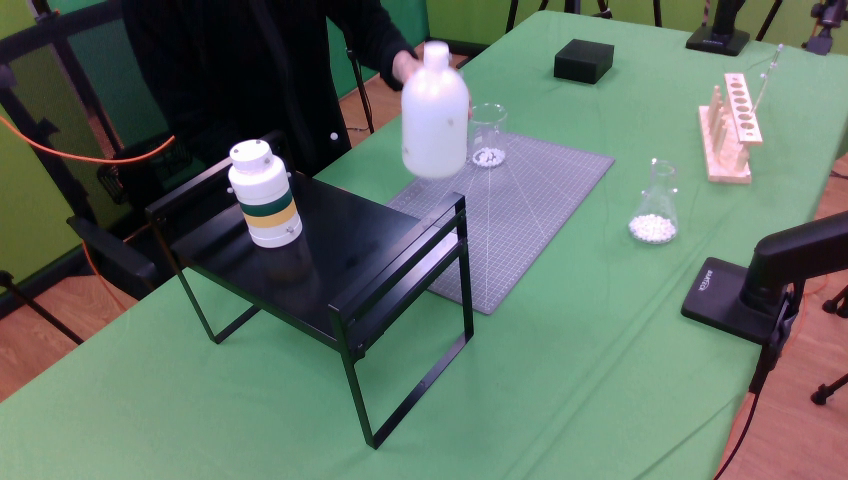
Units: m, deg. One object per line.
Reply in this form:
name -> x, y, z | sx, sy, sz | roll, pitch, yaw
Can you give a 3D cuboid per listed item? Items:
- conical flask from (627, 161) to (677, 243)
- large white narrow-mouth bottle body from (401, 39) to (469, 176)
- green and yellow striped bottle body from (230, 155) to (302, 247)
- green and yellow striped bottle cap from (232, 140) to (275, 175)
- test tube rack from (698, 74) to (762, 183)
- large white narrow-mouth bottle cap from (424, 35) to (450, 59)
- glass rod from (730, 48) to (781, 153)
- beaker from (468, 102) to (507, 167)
conical flask -> 0.355, -0.061, 0.921 | 0.075, 0.122, 0.075 | -4, 41, 4
large white narrow-mouth bottle body -> 0.016, -0.200, 0.895 | 0.102, 0.195, 0.101 | 1, 37, 0
green and yellow striped bottle body -> -0.188, -0.055, 0.714 | 0.063, 0.120, 0.063 | -4, 40, 4
green and yellow striped bottle cap -> -0.192, -0.094, 0.680 | 0.045, 0.020, 0.045 | -5, 39, 5
test tube rack -> 0.547, -0.208, 1.095 | 0.066, 0.085, 0.242 | 5, 42, 15
large white narrow-mouth bottle cap -> 0.018, -0.269, 0.843 | 0.038, 0.024, 0.037 | 1, 37, 0
glass rod -> 0.554, -0.228, 1.015 | 0.008, 0.200, 0.008 | 1, 44, -1
beaker -> 0.121, -0.195, 1.124 | 0.084, 0.100, 0.073 | -34, 48, -28
